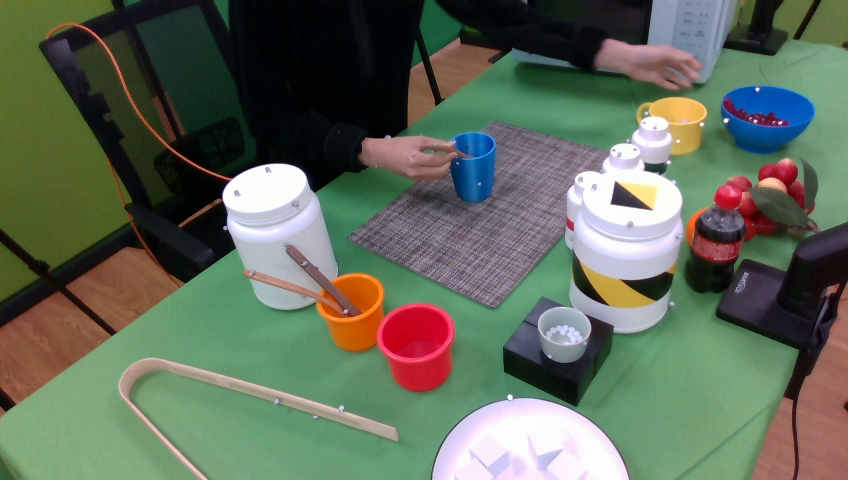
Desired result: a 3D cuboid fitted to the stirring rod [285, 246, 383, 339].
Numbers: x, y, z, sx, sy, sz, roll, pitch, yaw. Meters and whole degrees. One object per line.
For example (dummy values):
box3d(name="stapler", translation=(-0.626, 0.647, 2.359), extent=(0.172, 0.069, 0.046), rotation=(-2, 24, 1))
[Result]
box3d(name="stirring rod", translation=(-0.121, 0.071, 0.819), extent=(0.176, 0.006, 0.014), rotation=(44, 52, -6))

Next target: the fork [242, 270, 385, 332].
box3d(name="fork", translation=(-0.142, 0.082, 0.802), extent=(0.209, 0.018, 0.028), rotation=(28, 38, -26))

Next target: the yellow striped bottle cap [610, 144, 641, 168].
box3d(name="yellow striped bottle cap", translation=(0.307, -0.128, 0.923), extent=(0.044, 0.019, 0.044), rotation=(-6, 39, 5))

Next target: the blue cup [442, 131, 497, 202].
box3d(name="blue cup", translation=(0.085, -0.121, 1.039), extent=(0.092, 0.100, 0.092), rotation=(-5, 42, 5))

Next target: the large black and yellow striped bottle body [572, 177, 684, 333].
box3d(name="large black and yellow striped bottle body", translation=(0.262, 0.017, 0.788), extent=(0.131, 0.185, 0.130), rotation=(-5, 40, 4))

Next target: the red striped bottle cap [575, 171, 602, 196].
box3d(name="red striped bottle cap", translation=(0.242, -0.081, 0.876), extent=(0.044, 0.018, 0.044), rotation=(-5, 44, 5))

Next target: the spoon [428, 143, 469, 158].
box3d(name="spoon", translation=(0.050, -0.138, 0.965), extent=(0.041, 0.021, 0.195), rotation=(-2, -4, 27))

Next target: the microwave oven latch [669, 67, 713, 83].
box3d(name="microwave oven latch", translation=(0.556, -0.349, 1.261), extent=(0.078, 0.029, 0.030), rotation=(16, 46, 27))

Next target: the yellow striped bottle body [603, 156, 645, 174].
box3d(name="yellow striped bottle body", translation=(0.313, -0.089, 0.956), extent=(0.063, 0.121, 0.062), rotation=(-4, 39, 4))

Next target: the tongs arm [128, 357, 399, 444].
box3d(name="tongs arm", translation=(-0.213, 0.205, 0.755), extent=(0.382, 0.026, 0.051), rotation=(12, 46, 23))

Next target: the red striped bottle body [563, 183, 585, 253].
box3d(name="red striped bottle body", translation=(0.246, -0.041, 0.910), extent=(0.063, 0.120, 0.062), rotation=(-2, 38, 2))

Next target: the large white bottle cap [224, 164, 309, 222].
box3d(name="large white bottle cap", translation=(-0.216, -0.066, 0.829), extent=(0.115, 0.018, 0.114), rotation=(-4, 40, 4))

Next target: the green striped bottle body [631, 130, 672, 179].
box3d(name="green striped bottle body", translation=(0.375, -0.140, 1.007), extent=(0.063, 0.120, 0.063), rotation=(-5, 40, 5))

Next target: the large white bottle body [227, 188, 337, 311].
box3d(name="large white bottle body", translation=(-0.207, -0.002, 0.883), extent=(0.130, 0.185, 0.130), rotation=(-4, 40, 4))

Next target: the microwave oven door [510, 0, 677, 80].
box3d(name="microwave oven door", translation=(0.353, -0.479, 1.291), extent=(0.353, 0.245, 0.039), rotation=(15, 45, 25))

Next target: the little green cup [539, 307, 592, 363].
box3d(name="little green cup", translation=(0.168, 0.115, 0.721), extent=(0.061, 0.039, 0.061), rotation=(-4, 42, 4))

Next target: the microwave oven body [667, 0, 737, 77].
box3d(name="microwave oven body", translation=(0.462, -0.552, 1.369), extent=(0.439, 0.261, 0.326), rotation=(15, 45, 26))

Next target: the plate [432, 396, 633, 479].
box3d(name="plate", translation=(0.112, 0.261, 0.634), extent=(0.209, 0.038, 0.208), rotation=(-5, 40, 4))

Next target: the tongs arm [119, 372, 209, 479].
box3d(name="tongs arm", translation=(-0.258, 0.257, 0.700), extent=(0.384, 0.028, 0.028), rotation=(24, 55, 34))

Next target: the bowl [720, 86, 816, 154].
box3d(name="bowl", translation=(0.605, -0.206, 1.081), extent=(0.151, 0.077, 0.150), rotation=(-5, 40, 5))

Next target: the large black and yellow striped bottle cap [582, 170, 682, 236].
box3d(name="large black and yellow striped bottle cap", translation=(0.252, -0.048, 0.735), extent=(0.115, 0.019, 0.114), rotation=(-3, 40, 3))

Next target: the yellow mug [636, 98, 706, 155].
box3d(name="yellow mug", translation=(0.453, -0.218, 1.128), extent=(0.100, 0.064, 0.129), rotation=(-34, 46, -26))

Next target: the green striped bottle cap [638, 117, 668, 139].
box3d(name="green striped bottle cap", translation=(0.369, -0.180, 0.974), extent=(0.044, 0.020, 0.044), rotation=(-4, 41, 4))
